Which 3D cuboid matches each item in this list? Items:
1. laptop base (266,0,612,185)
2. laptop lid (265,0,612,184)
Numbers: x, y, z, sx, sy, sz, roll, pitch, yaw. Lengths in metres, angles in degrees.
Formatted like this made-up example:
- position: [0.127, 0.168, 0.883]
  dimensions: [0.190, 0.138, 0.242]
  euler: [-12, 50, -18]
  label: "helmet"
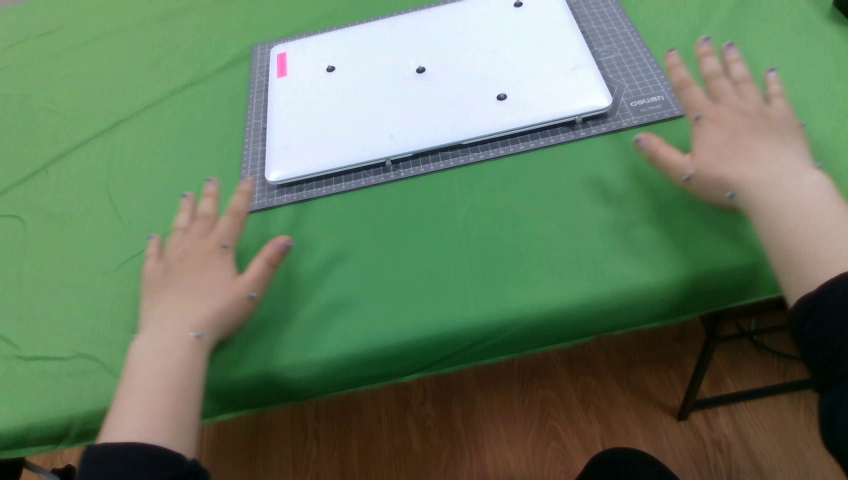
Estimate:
- position: [0.000, -0.176, 0.670]
  dimensions: [0.354, 0.023, 0.233]
  euler: [-12, 54, 3]
  label: "laptop base"
- position: [-0.002, -0.182, 0.660]
  dimensions: [0.356, 0.013, 0.239]
  euler: [-11, 53, 5]
  label: "laptop lid"
